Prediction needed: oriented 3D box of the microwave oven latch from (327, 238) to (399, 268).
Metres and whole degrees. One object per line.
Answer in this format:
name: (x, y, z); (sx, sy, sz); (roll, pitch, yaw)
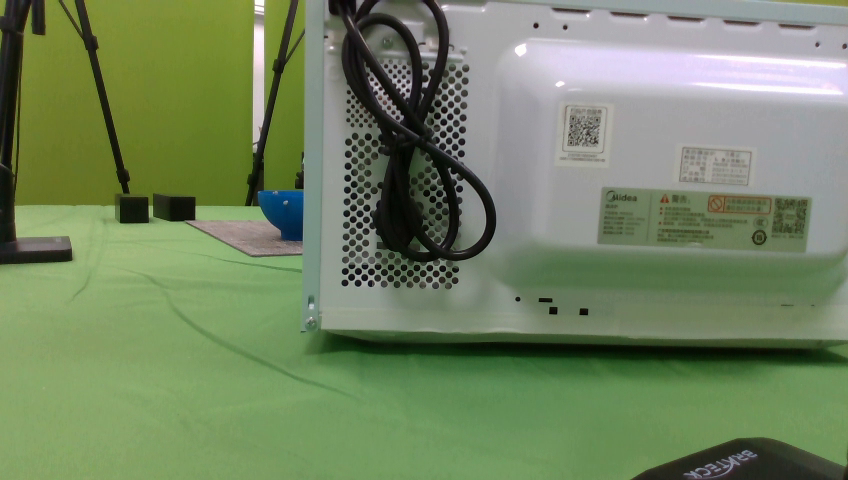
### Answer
microwave oven latch: (-0.069, 0.015, 0.694); (0.079, 0.029, 0.030); (3, 7, -3)

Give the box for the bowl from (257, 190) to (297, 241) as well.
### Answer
bowl: (-0.206, -0.041, 1.027); (0.151, 0.077, 0.151); (3, 8, 0)

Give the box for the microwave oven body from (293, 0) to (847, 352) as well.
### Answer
microwave oven body: (0.122, -0.055, 0.550); (0.442, 0.260, 0.325); (3, 7, -5)

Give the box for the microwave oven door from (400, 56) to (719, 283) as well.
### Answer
microwave oven door: (0.155, -0.077, 0.698); (0.356, 0.243, 0.039); (2, 8, -5)
